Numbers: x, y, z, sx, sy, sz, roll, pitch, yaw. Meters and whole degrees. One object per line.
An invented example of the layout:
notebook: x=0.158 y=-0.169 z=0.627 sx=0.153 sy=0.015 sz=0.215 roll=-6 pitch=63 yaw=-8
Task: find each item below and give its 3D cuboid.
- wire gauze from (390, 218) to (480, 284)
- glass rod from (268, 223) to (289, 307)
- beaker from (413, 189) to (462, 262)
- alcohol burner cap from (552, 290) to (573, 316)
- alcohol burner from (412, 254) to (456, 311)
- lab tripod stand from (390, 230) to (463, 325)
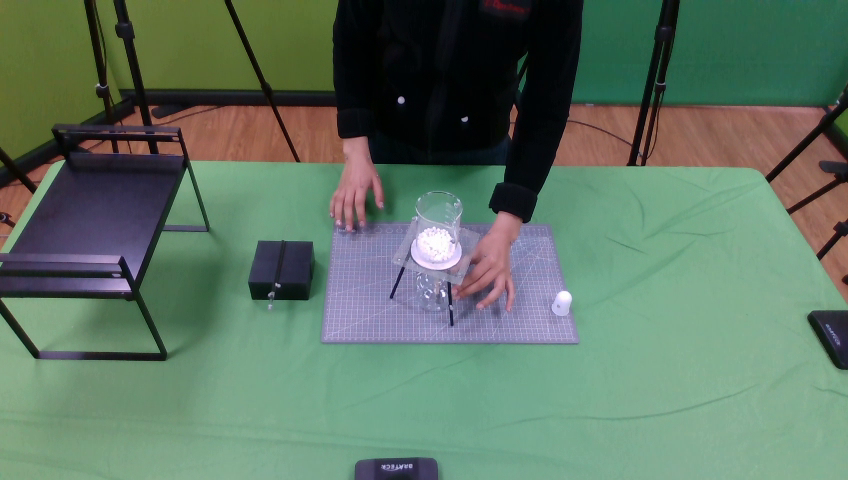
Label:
wire gauze: x=0.020 y=0.013 z=1.010 sx=0.125 sy=0.011 sz=0.121 roll=15 pitch=46 yaw=14
glass rod: x=-0.259 y=0.041 z=1.080 sx=0.008 sy=0.008 sz=0.198 roll=2 pitch=46 yaw=-2
beaker: x=0.022 y=-0.018 z=0.973 sx=0.074 sy=0.101 sz=0.083 roll=-19 pitch=51 yaw=-19
alcohol burner cap: x=0.250 y=0.110 z=1.088 sx=0.034 sy=0.048 sz=0.033 roll=3 pitch=46 yaw=-3
alcohol burner: x=0.018 y=0.070 z=1.061 sx=0.078 sy=0.120 sz=0.077 roll=1 pitch=46 yaw=0
lab tripod stand: x=0.014 y=0.060 z=1.056 sx=0.148 sy=0.132 sz=0.147 roll=1 pitch=48 yaw=-1
